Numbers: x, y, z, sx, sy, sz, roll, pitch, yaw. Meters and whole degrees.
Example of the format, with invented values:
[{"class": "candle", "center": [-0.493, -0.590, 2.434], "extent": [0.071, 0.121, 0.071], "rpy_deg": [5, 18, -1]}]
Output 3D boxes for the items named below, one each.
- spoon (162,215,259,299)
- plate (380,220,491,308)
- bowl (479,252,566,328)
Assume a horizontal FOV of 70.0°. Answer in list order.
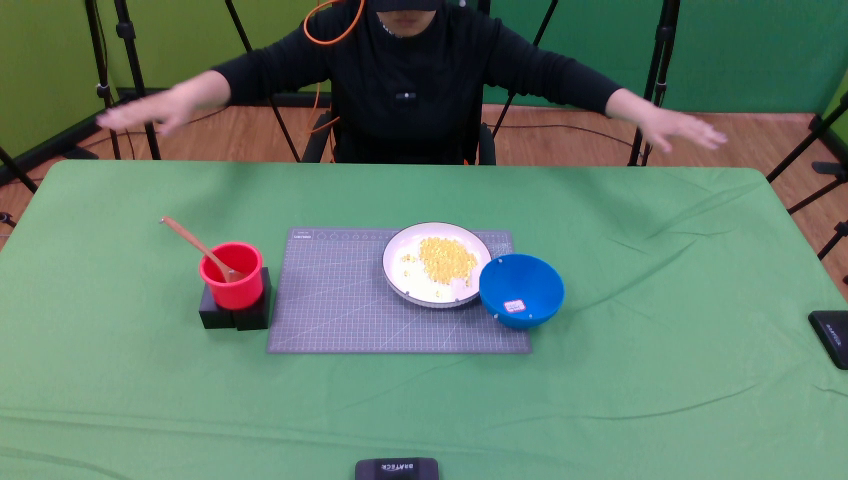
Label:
[{"class": "spoon", "center": [-0.348, 0.027, 0.992], "extent": [0.194, 0.021, 0.041], "rpy_deg": [48, 51, -19]}, {"class": "plate", "center": [0.022, 0.048, 1.137], "extent": [0.208, 0.039, 0.206], "rpy_deg": [2, 46, -2]}, {"class": "bowl", "center": [0.167, 0.102, 1.067], "extent": [0.151, 0.077, 0.150], "rpy_deg": [2, 46, -2]}]
